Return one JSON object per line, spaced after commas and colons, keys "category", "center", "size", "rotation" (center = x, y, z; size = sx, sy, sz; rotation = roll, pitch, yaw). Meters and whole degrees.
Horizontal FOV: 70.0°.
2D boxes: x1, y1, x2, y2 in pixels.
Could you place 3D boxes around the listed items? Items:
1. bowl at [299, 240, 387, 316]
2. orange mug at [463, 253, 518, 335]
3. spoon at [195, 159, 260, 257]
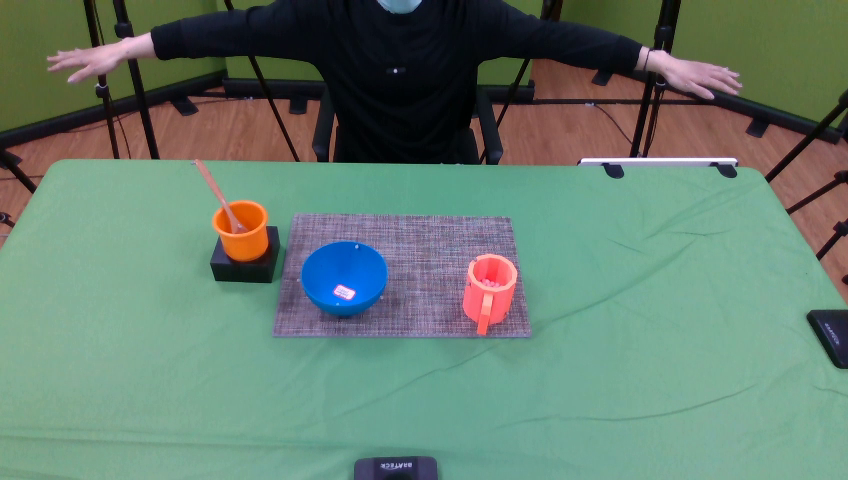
{"category": "bowl", "center": [-0.139, 0.081, 1.064], "size": [0.151, 0.077, 0.150], "rotation": [2, 46, -1]}
{"category": "orange mug", "center": [0.112, 0.098, 1.050], "size": [0.083, 0.101, 0.125], "rotation": [10, 42, 6]}
{"category": "spoon", "center": [-0.348, -0.057, 1.069], "size": [0.041, 0.194, 0.021], "rotation": [-31, 12, -26]}
